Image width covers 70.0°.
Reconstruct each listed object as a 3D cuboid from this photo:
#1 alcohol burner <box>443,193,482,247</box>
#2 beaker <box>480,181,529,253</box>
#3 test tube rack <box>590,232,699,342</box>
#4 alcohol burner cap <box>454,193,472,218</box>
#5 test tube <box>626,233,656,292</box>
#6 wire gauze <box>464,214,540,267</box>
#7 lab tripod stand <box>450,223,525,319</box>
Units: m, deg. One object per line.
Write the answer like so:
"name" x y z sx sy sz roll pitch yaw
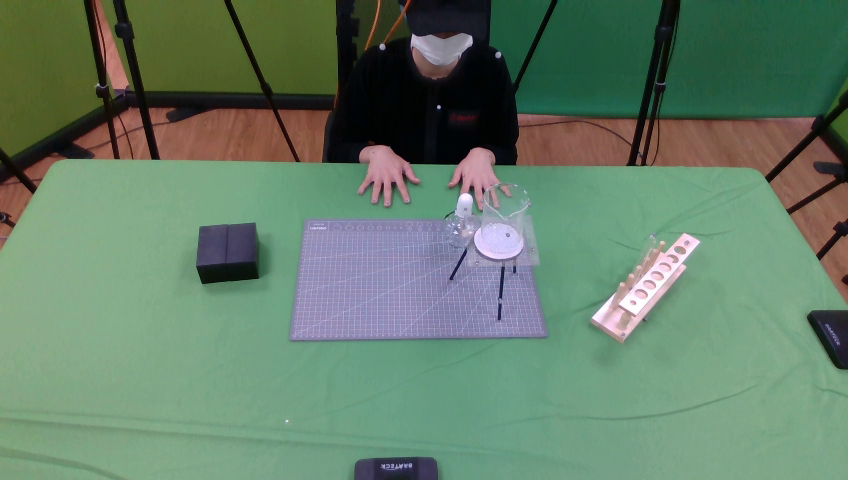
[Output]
"alcohol burner" 0.075 -0.044 1.177 0.078 0.120 0.077 1 44 -1
"beaker" 0.130 -0.033 0.998 0.074 0.101 0.083 5 47 4
"test tube rack" 0.407 0.074 1.112 0.066 0.085 0.242 35 53 26
"alcohol burner cap" 0.076 -0.068 1.151 0.034 0.048 0.033 4 46 -3
"test tube" 0.384 0.042 1.079 0.017 0.151 0.017 1 47 -1
"wire gauze" 0.131 -0.001 1.035 0.121 0.011 0.124 1 44 -2
"lab tripod stand" 0.120 0.046 1.080 0.148 0.132 0.147 1 47 -1
